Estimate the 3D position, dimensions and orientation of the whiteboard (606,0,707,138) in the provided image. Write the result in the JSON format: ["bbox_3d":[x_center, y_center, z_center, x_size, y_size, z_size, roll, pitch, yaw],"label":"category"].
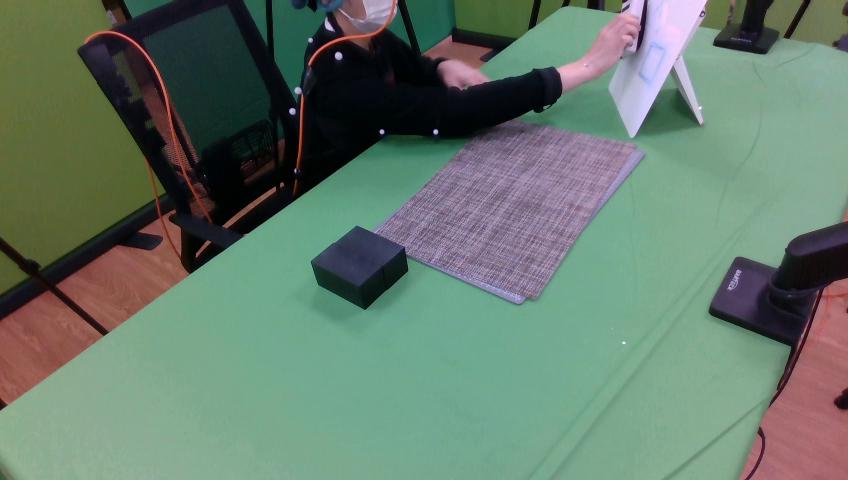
[{"bbox_3d":[0.496,-0.358,1.147,0.144,0.305,0.216,12,40,-7],"label":"whiteboard"}]

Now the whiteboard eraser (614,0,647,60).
[{"bbox_3d":[0.410,-0.419,1.200,0.042,0.112,0.055,11,-2,-13],"label":"whiteboard eraser"}]
